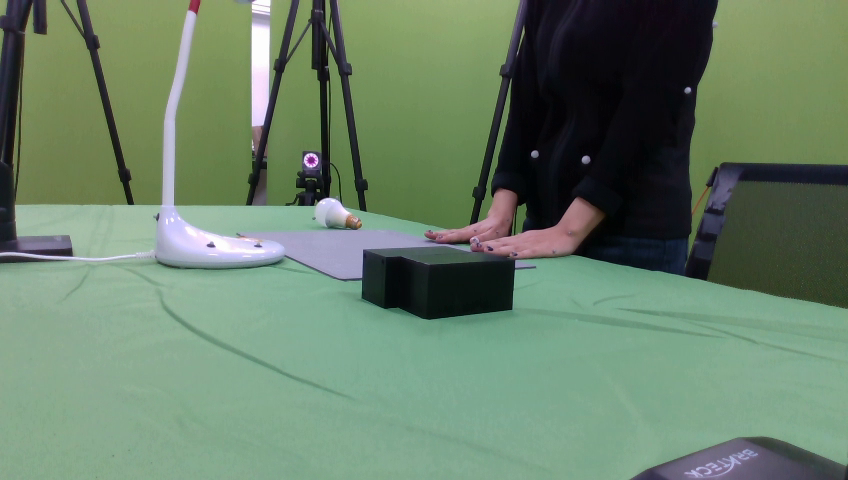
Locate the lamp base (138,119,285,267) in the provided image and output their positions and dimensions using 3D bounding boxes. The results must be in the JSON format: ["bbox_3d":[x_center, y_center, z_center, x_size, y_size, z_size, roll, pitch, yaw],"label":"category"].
[{"bbox_3d":[-0.271,-0.061,0.772,0.180,0.180,0.160,-7,12,-39],"label":"lamp base"}]

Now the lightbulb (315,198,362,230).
[{"bbox_3d":[-0.171,-0.048,1.220,0.107,0.059,0.060,22,15,22],"label":"lightbulb"}]

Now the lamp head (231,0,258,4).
[{"bbox_3d":[-0.257,-0.377,0.773,0.112,0.112,0.123,5,-2,26],"label":"lamp head"}]
